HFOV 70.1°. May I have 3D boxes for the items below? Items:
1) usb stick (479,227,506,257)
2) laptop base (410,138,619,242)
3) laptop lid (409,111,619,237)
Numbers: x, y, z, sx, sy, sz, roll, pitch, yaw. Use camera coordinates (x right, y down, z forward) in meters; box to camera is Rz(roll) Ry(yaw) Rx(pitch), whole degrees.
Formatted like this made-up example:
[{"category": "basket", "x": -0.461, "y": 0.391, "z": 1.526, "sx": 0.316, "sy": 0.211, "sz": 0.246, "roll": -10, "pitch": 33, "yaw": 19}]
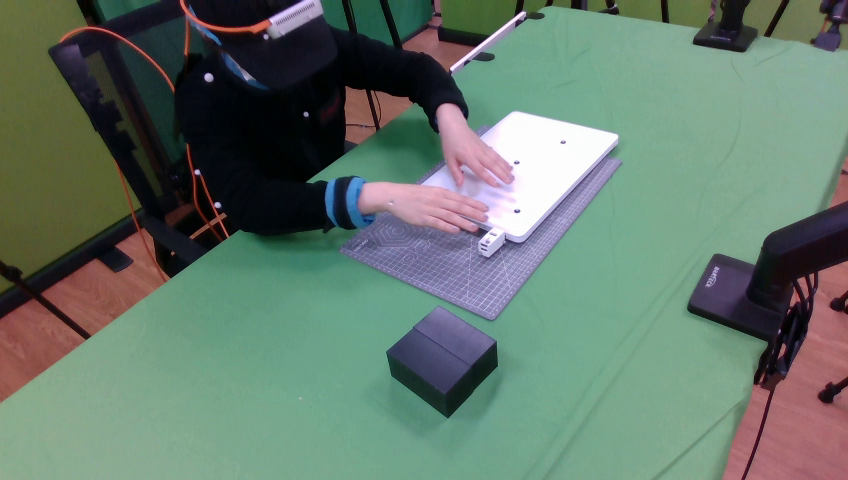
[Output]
[{"category": "usb stick", "x": 0.109, "y": -0.001, "z": 0.934, "sx": 0.021, "sy": 0.027, "sz": 0.059, "roll": 23, "pitch": 43, "yaw": 33}, {"category": "laptop base", "x": 0.170, "y": -0.127, "z": 1.096, "sx": 0.233, "sy": 0.023, "sz": 0.355, "roll": 21, "pitch": 47, "yaw": 34}, {"category": "laptop lid", "x": 0.167, "y": -0.136, "z": 1.089, "sx": 0.239, "sy": 0.013, "sz": 0.358, "roll": 23, "pitch": 48, "yaw": 34}]
